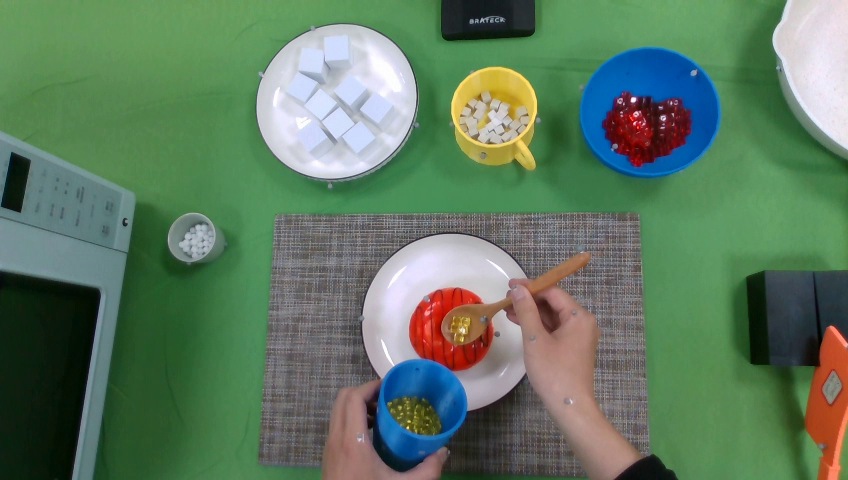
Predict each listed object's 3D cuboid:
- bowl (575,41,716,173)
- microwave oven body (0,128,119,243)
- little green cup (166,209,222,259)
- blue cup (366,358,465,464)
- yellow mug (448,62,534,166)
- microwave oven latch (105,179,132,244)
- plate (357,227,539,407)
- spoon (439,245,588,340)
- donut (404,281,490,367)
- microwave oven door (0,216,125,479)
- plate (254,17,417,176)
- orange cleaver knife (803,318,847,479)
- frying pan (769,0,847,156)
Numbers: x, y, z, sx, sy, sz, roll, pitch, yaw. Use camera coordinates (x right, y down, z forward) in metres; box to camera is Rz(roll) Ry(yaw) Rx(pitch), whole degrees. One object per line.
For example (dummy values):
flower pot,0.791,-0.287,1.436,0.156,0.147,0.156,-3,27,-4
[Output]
bowl,0.248,-0.142,0.703,0.151,0.077,0.151,-1,81,7
microwave oven body,-0.560,0.114,0.653,0.325,0.261,0.440,3,81,7
little green cup,-0.285,-0.005,0.759,0.061,0.039,0.061,-1,82,6
blue cup,-0.017,0.177,0.601,0.093,0.101,0.091,12,51,-14
yellow mug,0.089,-0.142,0.727,0.100,0.064,0.130,-36,79,-1
microwave oven latch,-0.389,-0.036,0.758,0.030,0.029,0.079,7,82,7
plate,0.027,0.089,0.705,0.209,0.038,0.208,-1,81,6
spoon,0.084,0.054,0.600,0.194,0.021,0.041,-35,86,42
donut,0.026,0.095,0.692,0.099,0.048,0.099,-1,84,8
microwave oven door,-0.419,0.163,0.624,0.039,0.245,0.354,3,80,7
plate,-0.110,-0.179,0.770,0.207,0.039,0.207,-1,80,7
orange cleaver knife,0.413,0.186,0.627,0.012,0.077,0.212,-1,109,7
frying pan,0.526,-0.115,0.653,0.306,0.103,0.485,5,73,8
